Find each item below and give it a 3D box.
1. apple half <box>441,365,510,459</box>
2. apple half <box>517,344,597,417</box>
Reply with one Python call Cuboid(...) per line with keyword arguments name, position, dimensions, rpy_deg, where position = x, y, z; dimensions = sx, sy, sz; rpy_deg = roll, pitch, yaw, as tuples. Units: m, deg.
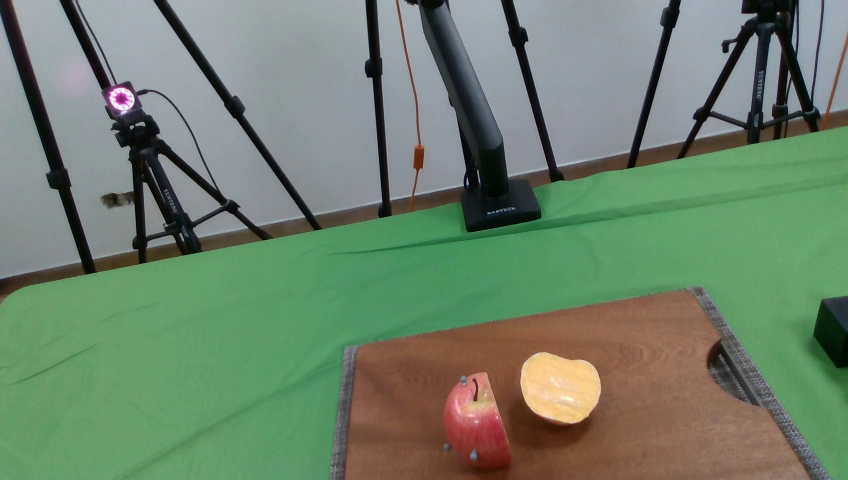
Cuboid(name="apple half", position=(0.044, 0.164, 0.560), dimensions=(0.053, 0.075, 0.080), rpy_deg=(-19, 38, 0))
Cuboid(name="apple half", position=(0.128, 0.143, 0.596), dimensions=(0.081, 0.033, 0.080), rpy_deg=(-3, 47, 3))
